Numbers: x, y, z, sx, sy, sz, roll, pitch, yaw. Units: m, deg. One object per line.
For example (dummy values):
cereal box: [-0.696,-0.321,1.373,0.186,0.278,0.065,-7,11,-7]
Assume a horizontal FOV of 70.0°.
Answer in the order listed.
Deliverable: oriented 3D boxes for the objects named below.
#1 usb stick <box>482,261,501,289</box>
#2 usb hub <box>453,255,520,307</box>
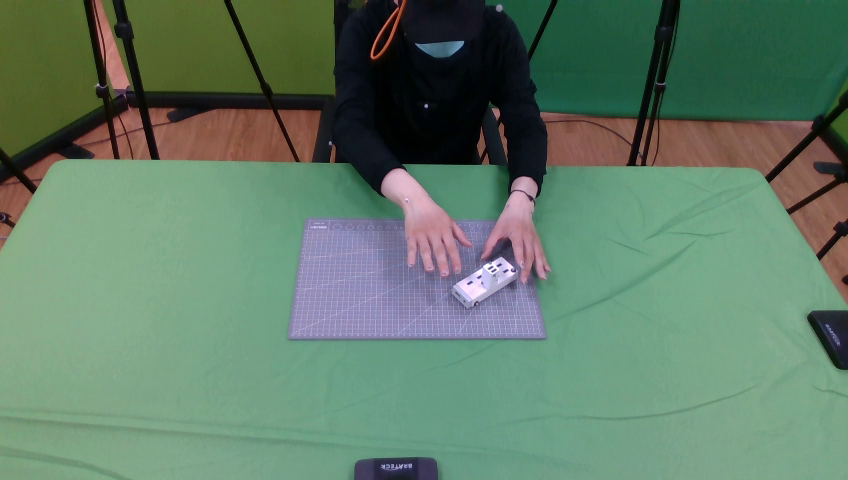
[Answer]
usb stick: [0.121,0.068,1.090,0.021,0.059,0.027,-30,57,-27]
usb hub: [0.116,0.076,1.122,0.125,0.025,0.049,-29,55,-26]
